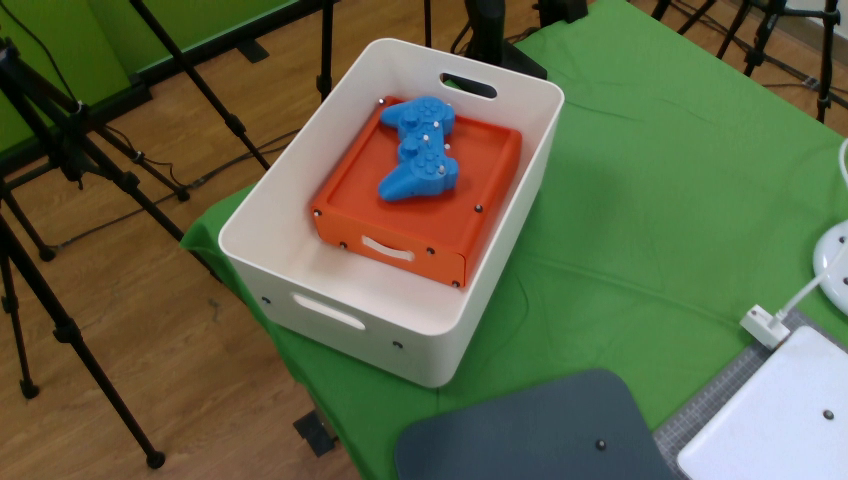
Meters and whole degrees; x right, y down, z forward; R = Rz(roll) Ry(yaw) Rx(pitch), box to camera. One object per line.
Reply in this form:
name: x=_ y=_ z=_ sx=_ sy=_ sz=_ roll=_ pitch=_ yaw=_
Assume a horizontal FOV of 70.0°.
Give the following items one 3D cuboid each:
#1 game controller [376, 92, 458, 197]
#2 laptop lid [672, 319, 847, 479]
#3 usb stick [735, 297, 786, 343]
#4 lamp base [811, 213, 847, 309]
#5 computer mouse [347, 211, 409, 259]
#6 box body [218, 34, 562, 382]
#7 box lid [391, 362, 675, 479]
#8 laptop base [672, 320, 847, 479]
game controller: x=-0.009 y=-0.124 z=0.745 sx=0.097 sy=0.052 sz=0.153 roll=1 pitch=55 yaw=-3
laptop lid: x=0.445 y=0.257 z=0.568 sx=0.241 sy=0.013 sz=0.353 roll=-34 pitch=61 yaw=-18
usb stick: x=0.382 y=0.095 z=0.679 sx=0.021 sy=0.027 sz=0.058 roll=-29 pitch=63 yaw=-23
lamp base: x=0.551 y=-0.019 z=0.671 sx=0.160 sy=0.182 sz=0.178 roll=10 pitch=54 yaw=8
computer mouse: x=-0.055 y=-0.012 z=0.750 sx=0.063 sy=0.041 sz=0.116 roll=-5 pitch=16 yaw=8
box body: x=-0.019 y=-0.046 z=0.711 sx=0.253 sy=0.162 sz=0.362 roll=20 pitch=58 yaw=14
box lid: x=0.135 y=0.304 z=0.562 sx=0.263 sy=0.015 sz=0.367 roll=-15 pitch=57 yaw=-8
laptop base: x=0.447 y=0.263 z=0.578 sx=0.235 sy=0.023 sz=0.351 roll=-37 pitch=62 yaw=-17
